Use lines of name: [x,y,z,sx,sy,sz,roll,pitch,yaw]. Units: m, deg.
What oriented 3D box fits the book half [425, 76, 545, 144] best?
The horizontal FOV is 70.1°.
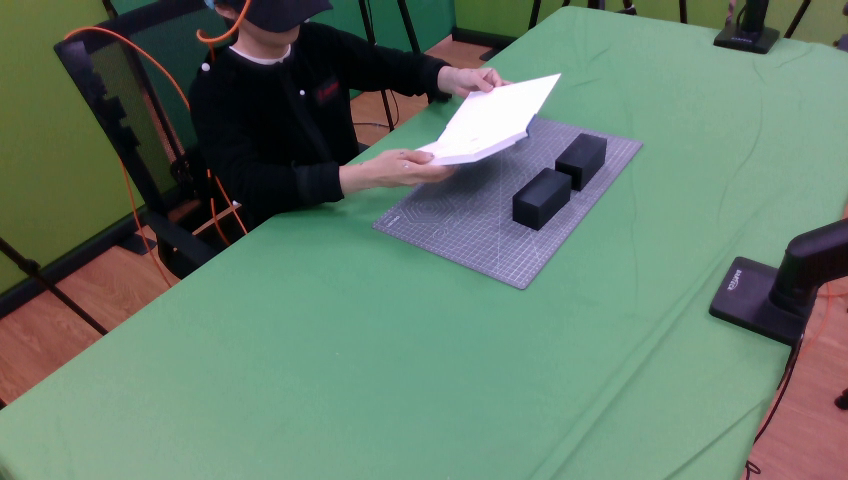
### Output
book half: [0.106,-0.233,1.099,0.208,0.007,0.143,1,51,47]
